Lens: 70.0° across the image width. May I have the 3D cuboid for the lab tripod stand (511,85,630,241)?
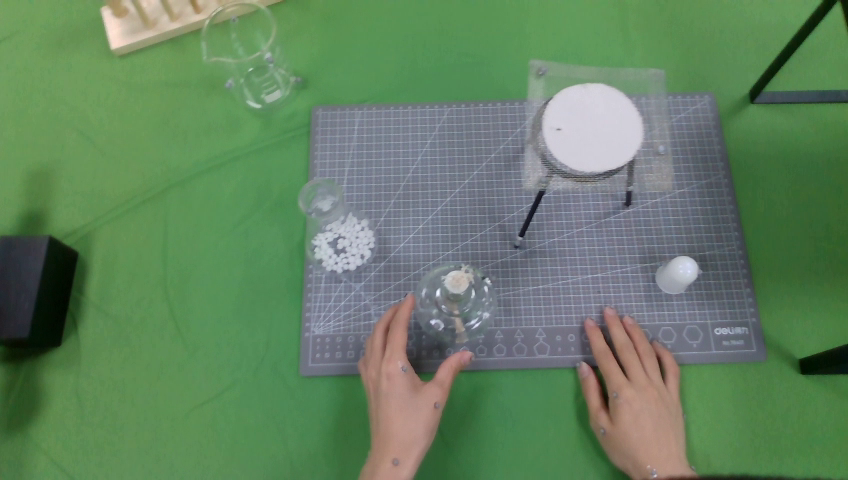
[{"bbox_3d":[0.137,-0.074,0.579,0.148,0.132,0.147,0,69,0],"label":"lab tripod stand"}]

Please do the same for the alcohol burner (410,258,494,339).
[{"bbox_3d":[0.026,0.048,0.550,0.078,0.120,0.077,0,69,0],"label":"alcohol burner"}]

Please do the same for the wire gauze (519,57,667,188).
[{"bbox_3d":[0.143,-0.101,0.516,0.121,0.011,0.124,4,72,1],"label":"wire gauze"}]

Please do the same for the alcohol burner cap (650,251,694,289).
[{"bbox_3d":[0.244,0.027,0.591,0.034,0.048,0.033,0,72,2],"label":"alcohol burner cap"}]

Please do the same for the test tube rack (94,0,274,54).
[{"bbox_3d":[-0.268,-0.303,0.693,0.242,0.086,0.066,-21,72,-6],"label":"test tube rack"}]

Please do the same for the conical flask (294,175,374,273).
[{"bbox_3d":[-0.090,-0.019,0.571,0.075,0.122,0.075,0,70,2],"label":"conical flask"}]

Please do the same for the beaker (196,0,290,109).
[{"bbox_3d":[-0.190,-0.192,0.646,0.084,0.101,0.073,-43,75,-12],"label":"beaker"}]
